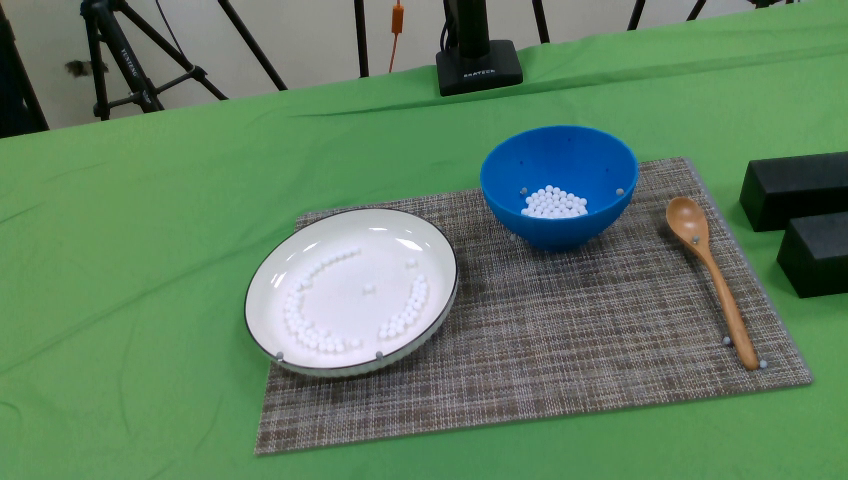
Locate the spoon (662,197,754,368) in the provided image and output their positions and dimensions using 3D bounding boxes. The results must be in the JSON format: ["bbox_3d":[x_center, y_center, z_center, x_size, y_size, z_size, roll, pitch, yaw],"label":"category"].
[{"bbox_3d":[0.256,0.030,0.546,0.042,0.022,0.192,6,43,-6],"label":"spoon"}]

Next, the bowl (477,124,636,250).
[{"bbox_3d":[0.132,-0.043,0.610,0.151,0.077,0.150,-6,43,6],"label":"bowl"}]

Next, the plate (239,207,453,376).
[{"bbox_3d":[-0.073,0.049,0.592,0.207,0.039,0.205,-6,44,6],"label":"plate"}]
